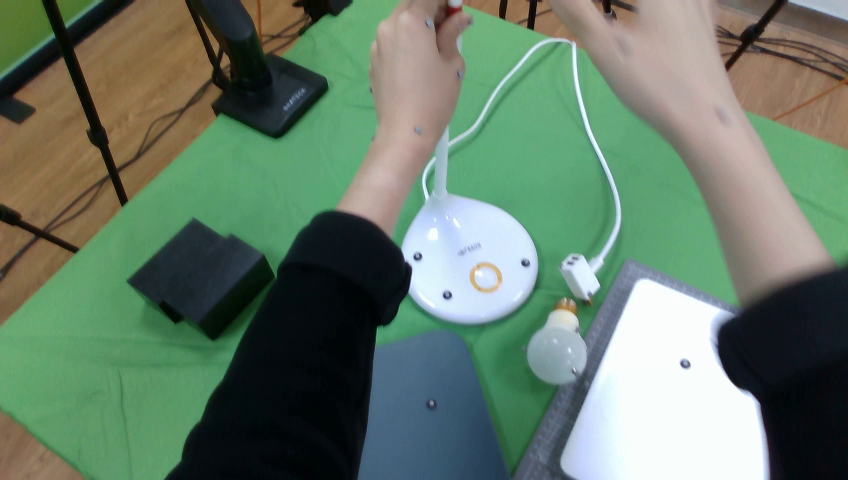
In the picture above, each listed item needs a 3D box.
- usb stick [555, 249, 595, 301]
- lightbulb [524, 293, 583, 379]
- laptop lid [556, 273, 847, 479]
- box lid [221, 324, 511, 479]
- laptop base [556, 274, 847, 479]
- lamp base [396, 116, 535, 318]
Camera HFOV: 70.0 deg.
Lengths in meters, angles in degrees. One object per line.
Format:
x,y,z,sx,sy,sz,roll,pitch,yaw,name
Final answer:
0.170,0.040,0.671,0.027,0.059,0.021,-40,23,-25,usb stick
0.140,0.097,0.638,0.059,0.060,0.107,14,45,10,lightbulb
0.331,0.193,0.580,0.355,0.013,0.241,26,66,16,laptop lid
-0.041,0.267,0.562,0.263,0.015,0.367,-14,61,-7,box lid
0.333,0.197,0.591,0.352,0.023,0.234,24,66,15,laptop base
0.038,-0.032,0.639,0.160,0.182,0.177,-33,61,-17,lamp base
